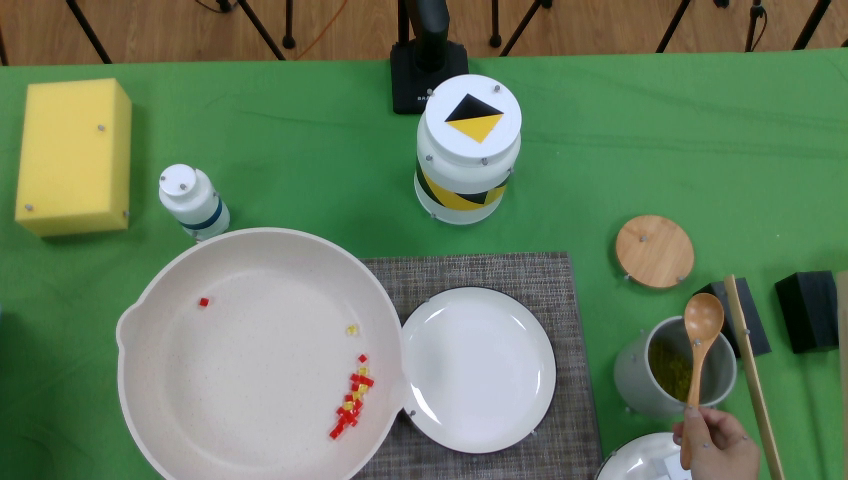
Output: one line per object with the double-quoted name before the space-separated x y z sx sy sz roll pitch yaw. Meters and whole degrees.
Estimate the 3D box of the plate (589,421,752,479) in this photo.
"plate" 0.293 0.323 0.723 0.208 0.039 0.206 1 70 -3

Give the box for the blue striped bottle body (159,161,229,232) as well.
"blue striped bottle body" -0.298 -0.059 0.781 0.063 0.121 0.062 1 69 -2

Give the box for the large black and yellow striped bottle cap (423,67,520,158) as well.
"large black and yellow striped bottle cap" 0.057 -0.152 0.713 0.115 0.019 0.114 1 71 -3

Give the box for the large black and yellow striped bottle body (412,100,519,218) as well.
"large black and yellow striped bottle body" 0.051 -0.121 0.792 0.131 0.185 0.130 1 69 -3

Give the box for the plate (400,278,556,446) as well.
"plate" 0.060 0.152 0.767 0.209 0.038 0.207 1 70 -2

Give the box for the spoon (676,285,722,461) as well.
"spoon" 0.294 0.142 0.663 0.041 0.022 0.192 9 69 23

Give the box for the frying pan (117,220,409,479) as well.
"frying pan" -0.184 0.216 0.612 0.308 0.103 0.484 19 61 -16

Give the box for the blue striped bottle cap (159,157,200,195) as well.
"blue striped bottle cap" -0.296 -0.078 0.733 0.044 0.021 0.044 1 72 -3

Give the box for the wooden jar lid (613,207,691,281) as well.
"wooden jar lid" 0.317 0.007 0.848 0.108 0.021 0.107 1 71 -3

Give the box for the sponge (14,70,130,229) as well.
"sponge" -0.475 -0.124 0.825 0.118 0.061 0.205 -7 71 -6

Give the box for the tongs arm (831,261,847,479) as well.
"tongs arm" 0.513 0.216 0.747 0.028 0.028 0.386 8 80 -9

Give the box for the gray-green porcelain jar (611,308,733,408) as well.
"gray-green porcelain jar" 0.293 0.148 0.739 0.106 0.127 0.105 1 70 -2

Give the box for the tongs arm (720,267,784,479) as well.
"tongs arm" 0.429 0.219 0.739 0.051 0.026 0.383 -7 81 -8
